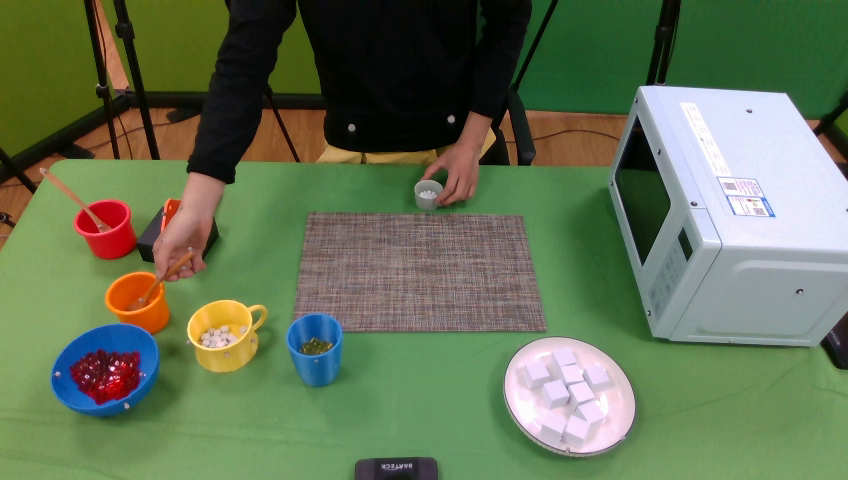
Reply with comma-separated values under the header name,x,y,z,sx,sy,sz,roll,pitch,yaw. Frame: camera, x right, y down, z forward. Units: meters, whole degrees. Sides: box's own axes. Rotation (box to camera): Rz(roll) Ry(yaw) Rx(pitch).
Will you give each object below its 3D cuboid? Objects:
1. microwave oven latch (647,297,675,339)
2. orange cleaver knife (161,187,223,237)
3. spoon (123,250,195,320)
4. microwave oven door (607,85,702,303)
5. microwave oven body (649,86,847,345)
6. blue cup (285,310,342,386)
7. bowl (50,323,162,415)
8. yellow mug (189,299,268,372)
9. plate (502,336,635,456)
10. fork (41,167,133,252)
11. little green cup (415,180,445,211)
name,x,y,z,sx,sy,sz,roll,pitch,yaw
microwave oven latch,0.413,0.134,1.061,0.030,0.029,0.078,5,45,2
orange cleaver knife,-0.448,-0.058,1.180,0.012,0.077,0.211,13,17,6
spoon,-0.435,0.073,0.990,0.022,0.194,0.041,29,33,-38
microwave oven door,0.423,-0.094,1.141,0.039,0.245,0.353,2,46,-1
microwave oven body,0.568,-0.053,1.118,0.326,0.261,0.439,2,45,-1
blue cup,-0.170,0.179,0.958,0.093,0.101,0.092,2,44,-1
bowl,-0.472,0.209,0.924,0.151,0.077,0.150,2,45,-2
yellow mug,-0.316,0.148,1.001,0.131,0.064,0.099,-32,56,-31
plate,0.225,0.248,0.963,0.208,0.039,0.206,2,46,-2
fork,-0.624,-0.055,1.121,0.208,0.018,0.028,50,51,-15
little green cup,0.011,-0.093,1.279,0.061,0.039,0.061,4,48,-4
